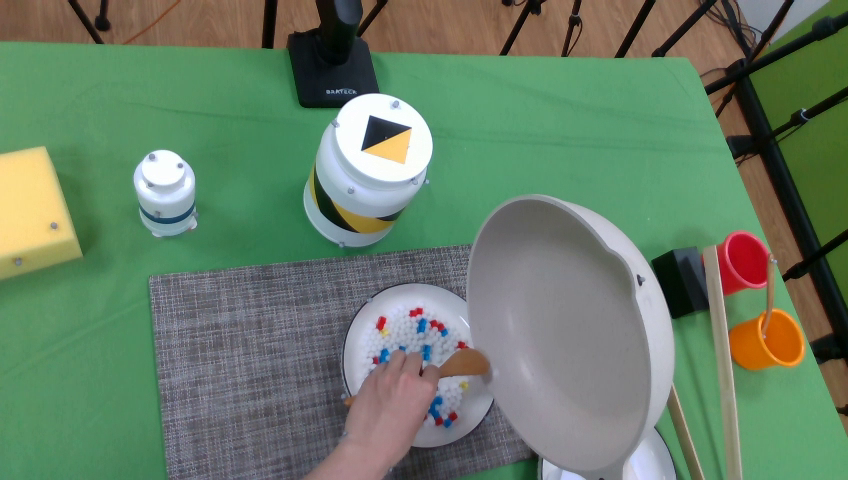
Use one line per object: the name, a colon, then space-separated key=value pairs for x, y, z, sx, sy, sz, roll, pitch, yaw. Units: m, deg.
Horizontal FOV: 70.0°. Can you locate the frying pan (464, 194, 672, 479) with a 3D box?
frying pan: x=0.168 y=0.183 z=0.605 sx=0.103 sy=0.308 sz=0.483 roll=-3 pitch=63 yaw=-23

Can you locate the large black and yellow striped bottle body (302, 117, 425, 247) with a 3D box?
large black and yellow striped bottle body: x=-0.075 y=-0.081 z=0.758 sx=0.131 sy=0.184 sz=0.130 roll=8 pitch=66 yaw=-18

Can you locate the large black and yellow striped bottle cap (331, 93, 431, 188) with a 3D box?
large black and yellow striped bottle cap: x=-0.047 y=-0.114 z=0.686 sx=0.115 sy=0.019 sz=0.114 roll=8 pitch=68 yaw=-19

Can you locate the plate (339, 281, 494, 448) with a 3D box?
plate: x=-0.007 y=0.156 z=0.767 sx=0.210 sy=0.038 sz=0.207 roll=8 pitch=67 yaw=-18

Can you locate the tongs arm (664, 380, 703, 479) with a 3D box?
tongs arm: x=0.356 y=0.203 z=0.860 sx=0.051 sy=0.026 sz=0.383 roll=-11 pitch=84 yaw=-26

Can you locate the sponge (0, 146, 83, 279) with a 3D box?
sponge: x=-0.493 y=-0.013 z=0.639 sx=0.207 sy=0.061 sz=0.117 roll=-20 pitch=77 yaw=-27

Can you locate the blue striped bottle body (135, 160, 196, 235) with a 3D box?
blue striped bottle body: x=-0.296 y=-0.055 z=0.698 sx=0.063 sy=0.121 sz=0.062 roll=8 pitch=66 yaw=-18

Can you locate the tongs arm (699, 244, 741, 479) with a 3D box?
tongs arm: x=0.434 y=0.196 z=0.893 sx=0.028 sy=0.027 sz=0.385 roll=5 pitch=77 yaw=-27

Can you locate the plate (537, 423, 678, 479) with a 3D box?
plate: x=0.240 y=0.314 z=0.802 sx=0.208 sy=0.039 sz=0.206 roll=8 pitch=66 yaw=-18

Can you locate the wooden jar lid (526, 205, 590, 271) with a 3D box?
wooden jar lid: x=0.202 y=-0.002 z=0.926 sx=0.109 sy=0.021 sz=0.107 roll=7 pitch=68 yaw=-18

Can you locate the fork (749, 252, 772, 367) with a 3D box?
fork: x=0.518 y=0.110 z=0.927 sx=0.028 sy=0.018 sz=0.209 roll=-20 pitch=121 yaw=-19

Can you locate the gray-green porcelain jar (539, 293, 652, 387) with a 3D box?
gray-green porcelain jar: x=0.224 y=0.140 z=0.816 sx=0.106 sy=0.127 sz=0.105 roll=8 pitch=66 yaw=-17

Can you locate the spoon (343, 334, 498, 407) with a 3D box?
spoon: x=0.000 y=0.150 z=0.683 sx=0.194 sy=0.022 sz=0.041 roll=-20 pitch=56 yaw=-20

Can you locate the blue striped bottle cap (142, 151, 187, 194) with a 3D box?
blue striped bottle cap: x=-0.279 y=-0.073 z=0.653 sx=0.045 sy=0.021 sz=0.044 roll=8 pitch=64 yaw=-15
